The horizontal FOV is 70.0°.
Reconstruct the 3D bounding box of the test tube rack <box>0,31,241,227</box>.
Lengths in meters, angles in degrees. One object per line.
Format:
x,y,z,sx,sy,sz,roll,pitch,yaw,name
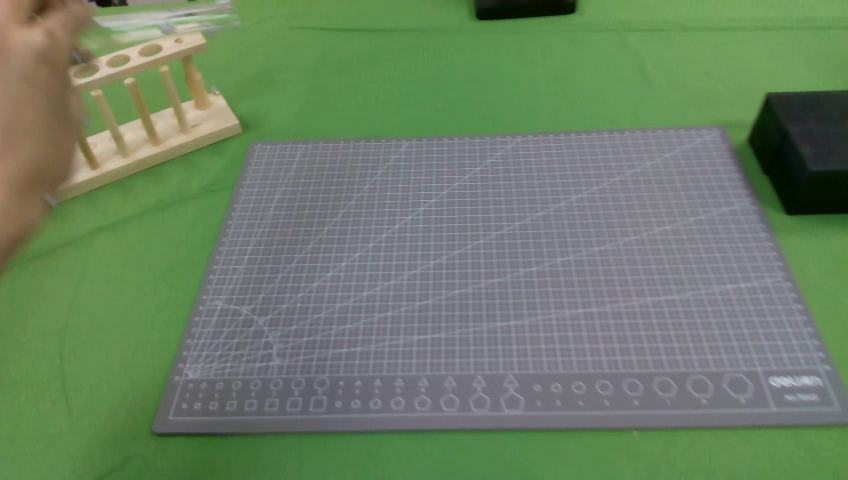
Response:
-0.306,-0.104,0.557,0.242,0.086,0.066,-26,51,-18,test tube rack

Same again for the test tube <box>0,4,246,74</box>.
-0.178,-0.116,0.354,0.150,0.017,0.017,-9,48,5,test tube
